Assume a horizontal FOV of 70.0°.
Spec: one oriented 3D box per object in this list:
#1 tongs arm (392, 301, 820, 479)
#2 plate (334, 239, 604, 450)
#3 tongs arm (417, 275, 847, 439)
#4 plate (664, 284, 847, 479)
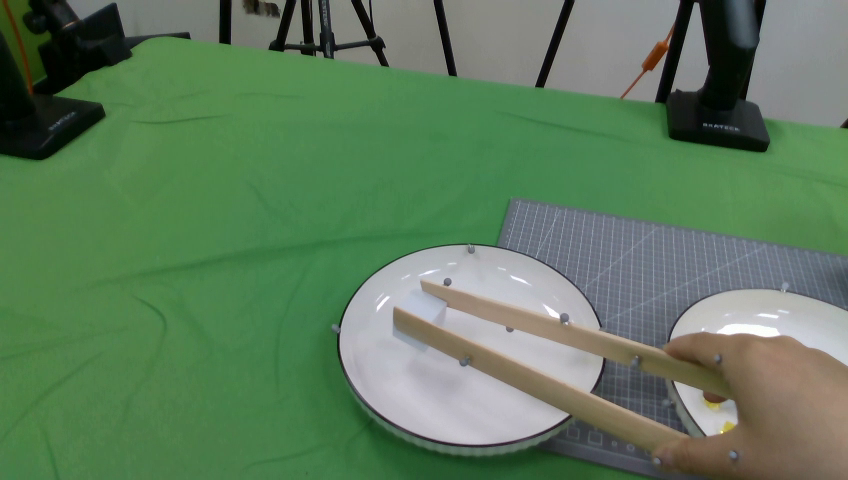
[{"bbox_3d":[0.138,0.104,0.358,0.384,0.028,0.028,18,42,29],"label":"tongs arm"},{"bbox_3d":[0.035,0.079,0.485,0.209,0.038,0.207,0,40,0],"label":"plate"},{"bbox_3d":[0.151,0.090,0.372,0.382,0.027,0.050,14,43,27],"label":"tongs arm"},{"bbox_3d":[0.282,0.117,0.450,0.208,0.039,0.205,1,41,-1],"label":"plate"}]
